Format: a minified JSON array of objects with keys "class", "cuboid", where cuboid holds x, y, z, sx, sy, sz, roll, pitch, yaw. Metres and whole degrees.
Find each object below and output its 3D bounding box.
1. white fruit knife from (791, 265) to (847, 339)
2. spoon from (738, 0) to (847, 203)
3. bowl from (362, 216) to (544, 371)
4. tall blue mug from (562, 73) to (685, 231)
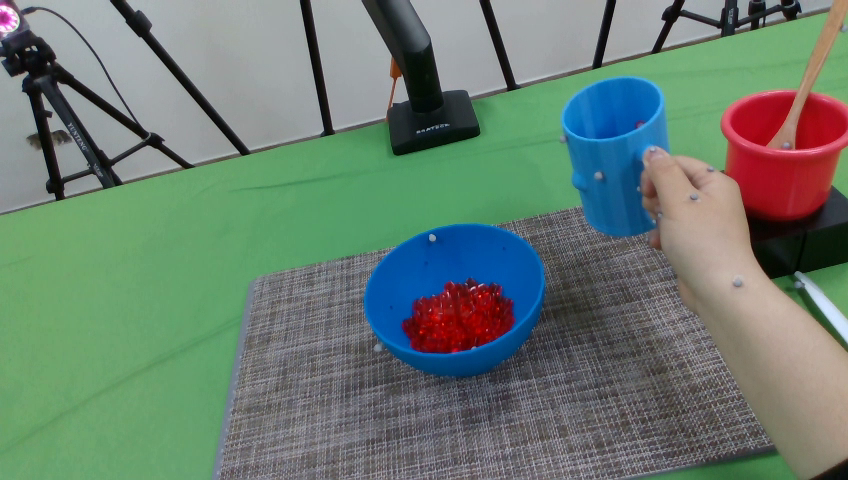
[{"class":"white fruit knife","cuboid":[0.329,0.086,0.444,0.027,0.016,0.205,9,37,-14]},{"class":"spoon","cuboid":[0.315,-0.122,0.504,0.041,0.022,0.194,26,100,40]},{"class":"bowl","cuboid":[0.030,0.058,0.515,0.151,0.077,0.150,-9,41,8]},{"class":"tall blue mug","cuboid":[0.173,-0.065,0.491,0.106,0.109,0.077,23,63,40]}]
